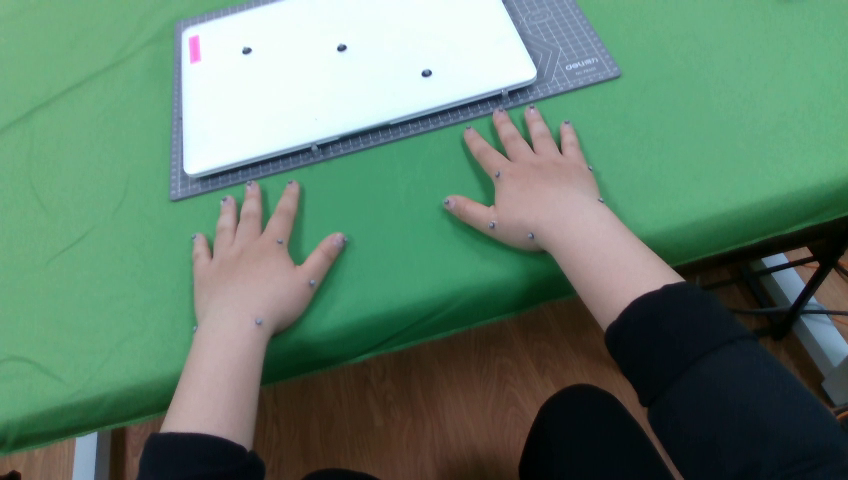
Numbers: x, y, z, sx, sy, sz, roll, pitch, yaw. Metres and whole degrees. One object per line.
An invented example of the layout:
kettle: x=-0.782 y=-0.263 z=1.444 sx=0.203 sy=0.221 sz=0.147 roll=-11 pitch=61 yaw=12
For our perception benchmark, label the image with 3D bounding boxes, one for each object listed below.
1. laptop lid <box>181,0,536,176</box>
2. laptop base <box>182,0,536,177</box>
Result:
laptop lid: x=-0.085 y=-0.199 z=0.638 sx=0.357 sy=0.013 sz=0.239 roll=-15 pitch=57 yaw=0
laptop base: x=-0.084 y=-0.194 z=0.649 sx=0.354 sy=0.023 sz=0.233 roll=-16 pitch=58 yaw=-1
